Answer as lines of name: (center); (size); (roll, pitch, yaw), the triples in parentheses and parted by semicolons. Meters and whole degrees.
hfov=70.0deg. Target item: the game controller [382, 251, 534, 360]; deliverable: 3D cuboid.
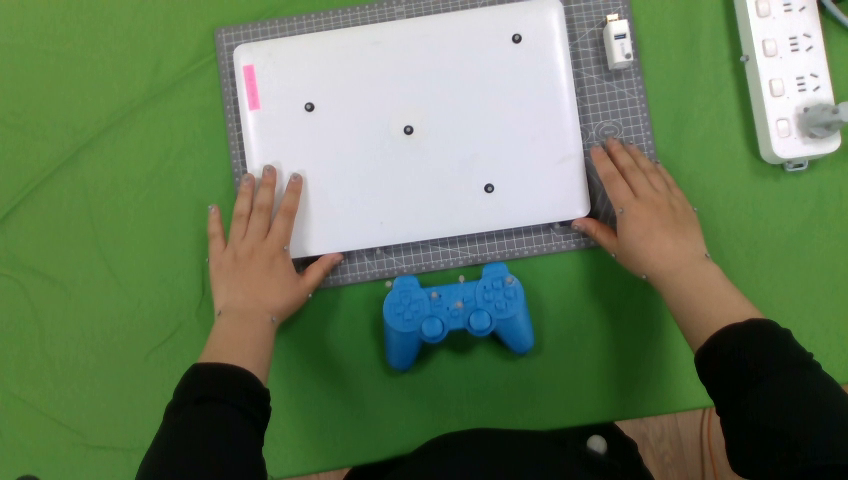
game controller: (0.031, 0.067, 0.620); (0.155, 0.052, 0.097); (-8, 82, 2)

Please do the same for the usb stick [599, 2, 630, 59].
usb stick: (0.198, -0.223, 0.633); (0.021, 0.027, 0.059); (-9, 85, 4)

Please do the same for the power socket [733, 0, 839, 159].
power socket: (0.369, -0.198, 0.624); (0.072, 0.032, 0.226); (-8, 87, 3)

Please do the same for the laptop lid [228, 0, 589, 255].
laptop lid: (-0.018, -0.123, 0.632); (0.357, 0.013, 0.241); (-7, 89, 2)

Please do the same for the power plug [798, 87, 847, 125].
power plug: (0.409, -0.130, 0.600); (0.072, 0.052, 0.035); (3, 86, -2)

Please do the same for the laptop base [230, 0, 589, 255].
laptop base: (-0.018, -0.125, 0.644); (0.354, 0.023, 0.235); (-9, 90, 2)
